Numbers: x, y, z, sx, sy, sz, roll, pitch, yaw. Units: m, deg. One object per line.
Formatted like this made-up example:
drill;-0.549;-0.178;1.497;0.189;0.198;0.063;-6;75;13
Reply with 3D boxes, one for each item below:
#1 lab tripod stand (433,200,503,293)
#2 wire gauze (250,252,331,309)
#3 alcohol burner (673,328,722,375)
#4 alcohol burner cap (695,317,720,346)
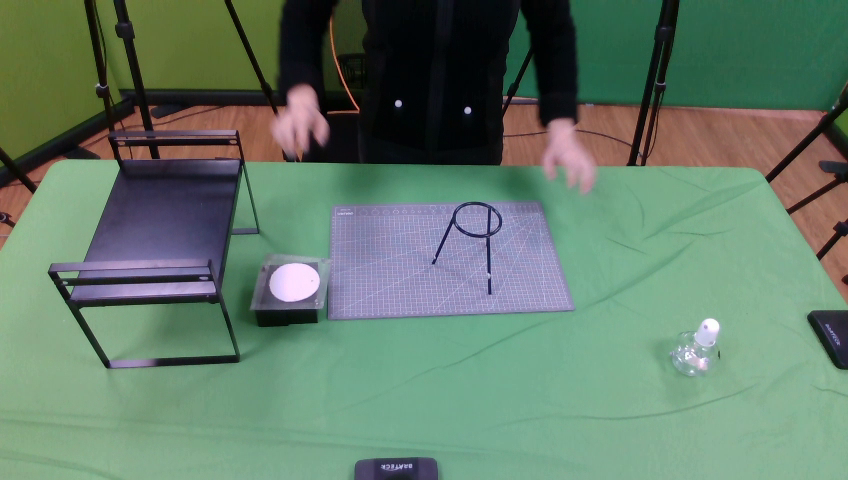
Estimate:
lab tripod stand;0.095;0.006;1.116;0.148;0.132;0.147;3;46;-3
wire gauze;-0.229;0.071;1.052;0.121;0.011;0.124;4;47;-2
alcohol burner;0.458;0.170;1.002;0.078;0.120;0.077;1;45;-1
alcohol burner cap;0.459;0.145;0.975;0.034;0.048;0.033;-3;45;3
